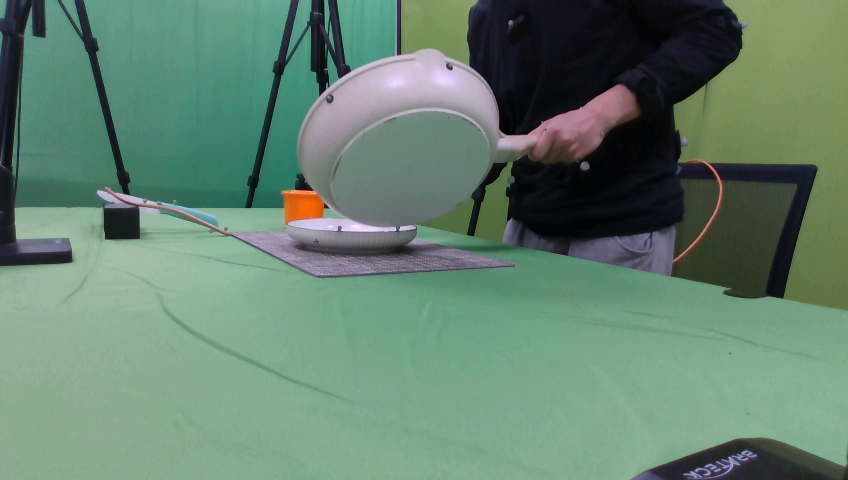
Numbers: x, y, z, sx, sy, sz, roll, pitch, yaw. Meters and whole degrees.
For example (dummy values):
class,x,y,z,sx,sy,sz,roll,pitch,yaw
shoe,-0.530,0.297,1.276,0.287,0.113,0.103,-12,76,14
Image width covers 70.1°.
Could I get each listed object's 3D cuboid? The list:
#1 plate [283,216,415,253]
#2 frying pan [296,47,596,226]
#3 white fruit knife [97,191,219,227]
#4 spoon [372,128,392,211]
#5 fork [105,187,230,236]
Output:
class,x,y,z,sx,sy,sz,roll,pitch,yaw
plate,-0.119,-0.009,0.968,0.208,0.039,0.207,3,7,0
frying pan,0.065,-0.136,0.888,0.490,0.306,0.102,-11,56,-27
white fruit knife,-0.468,-0.057,1.079,0.208,0.027,0.016,15,-1,-29
spoon,-0.070,-0.123,1.001,0.021,0.193,0.042,-36,-51,29
fork,-0.428,-0.047,1.020,0.208,0.018,0.028,19,-8,-26
